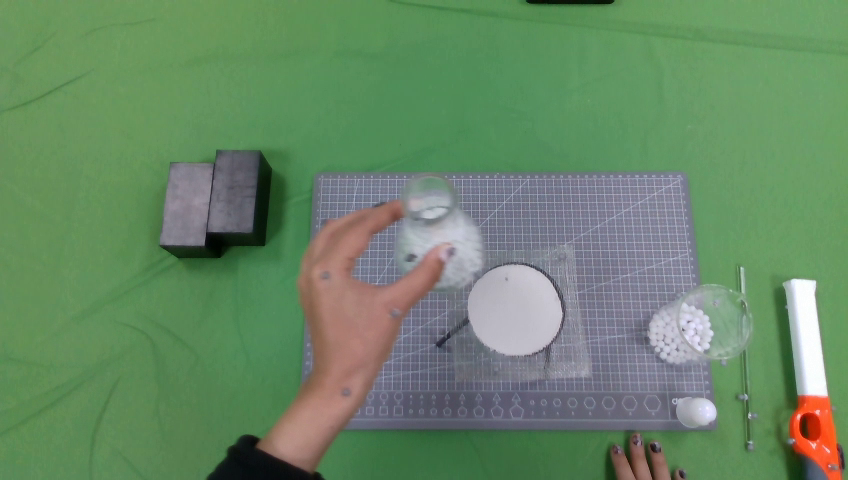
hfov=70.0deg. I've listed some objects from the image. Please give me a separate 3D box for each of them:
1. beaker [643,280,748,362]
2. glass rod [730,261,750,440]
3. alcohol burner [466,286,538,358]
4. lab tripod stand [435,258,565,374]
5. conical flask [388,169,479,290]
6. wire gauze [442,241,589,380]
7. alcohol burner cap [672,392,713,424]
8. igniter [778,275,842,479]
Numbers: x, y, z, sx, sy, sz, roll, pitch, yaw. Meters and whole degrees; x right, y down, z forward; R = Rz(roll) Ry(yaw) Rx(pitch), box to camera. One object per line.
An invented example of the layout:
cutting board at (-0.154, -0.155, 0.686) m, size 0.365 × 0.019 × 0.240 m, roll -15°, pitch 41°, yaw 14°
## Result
beaker at (0.280, 0.087, 0.633) m, size 0.084 × 0.101 × 0.073 m, roll -36°, pitch 77°, yaw -10°
glass rod at (0.352, 0.119, 0.675) m, size 0.008 × 0.008 × 0.198 m, roll 4°, pitch 73°, yaw 1°
alcohol burner at (0.082, 0.082, 0.628) m, size 0.078 × 0.120 × 0.077 m, roll 0°, pitch 72°, yaw 2°
lab tripod stand at (0.082, 0.080, 0.618) m, size 0.148 × 0.132 × 0.147 m, roll 0°, pitch 75°, yaw 1°
conical flask at (0.004, -0.011, 0.450) m, size 0.075 × 0.122 × 0.075 m, roll -1°, pitch 72°, yaw 4°
wire gauze at (0.082, 0.064, 0.553) m, size 0.125 × 0.011 × 0.120 m, roll -4°, pitch 74°, yaw -1°
alcohol burner cap at (0.285, 0.176, 0.637) m, size 0.034 × 0.048 × 0.033 m, roll 0°, pitch 74°, yaw 1°
igniter at (0.412, 0.173, 0.648) m, size 0.057 × 0.025 × 0.275 m, roll 5°, pitch 74°, yaw -8°
